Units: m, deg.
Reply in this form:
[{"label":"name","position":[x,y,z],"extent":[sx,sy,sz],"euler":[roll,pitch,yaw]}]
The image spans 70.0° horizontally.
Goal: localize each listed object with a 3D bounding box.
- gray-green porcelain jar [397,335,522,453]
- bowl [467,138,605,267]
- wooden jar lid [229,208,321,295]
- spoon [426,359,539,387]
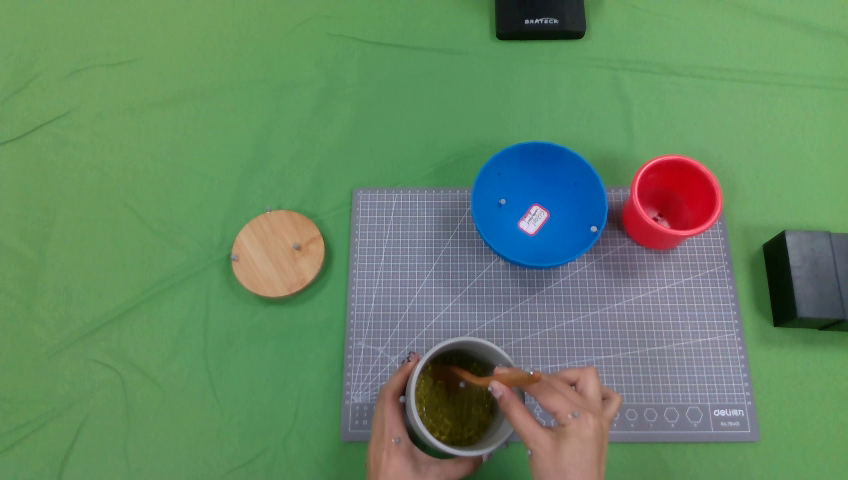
[{"label":"gray-green porcelain jar","position":[0.029,0.155,0.602],"extent":[0.106,0.127,0.105],"euler":[3,73,-8]},{"label":"bowl","position":[0.123,-0.032,0.696],"extent":[0.151,0.077,0.150],"euler":[0,71,1]},{"label":"wooden jar lid","position":[-0.175,0.015,0.718],"extent":[0.108,0.021,0.107],"euler":[0,70,2]},{"label":"spoon","position":[0.050,0.125,0.558],"extent":[0.042,0.193,0.021],"euler":[42,68,-10]}]
